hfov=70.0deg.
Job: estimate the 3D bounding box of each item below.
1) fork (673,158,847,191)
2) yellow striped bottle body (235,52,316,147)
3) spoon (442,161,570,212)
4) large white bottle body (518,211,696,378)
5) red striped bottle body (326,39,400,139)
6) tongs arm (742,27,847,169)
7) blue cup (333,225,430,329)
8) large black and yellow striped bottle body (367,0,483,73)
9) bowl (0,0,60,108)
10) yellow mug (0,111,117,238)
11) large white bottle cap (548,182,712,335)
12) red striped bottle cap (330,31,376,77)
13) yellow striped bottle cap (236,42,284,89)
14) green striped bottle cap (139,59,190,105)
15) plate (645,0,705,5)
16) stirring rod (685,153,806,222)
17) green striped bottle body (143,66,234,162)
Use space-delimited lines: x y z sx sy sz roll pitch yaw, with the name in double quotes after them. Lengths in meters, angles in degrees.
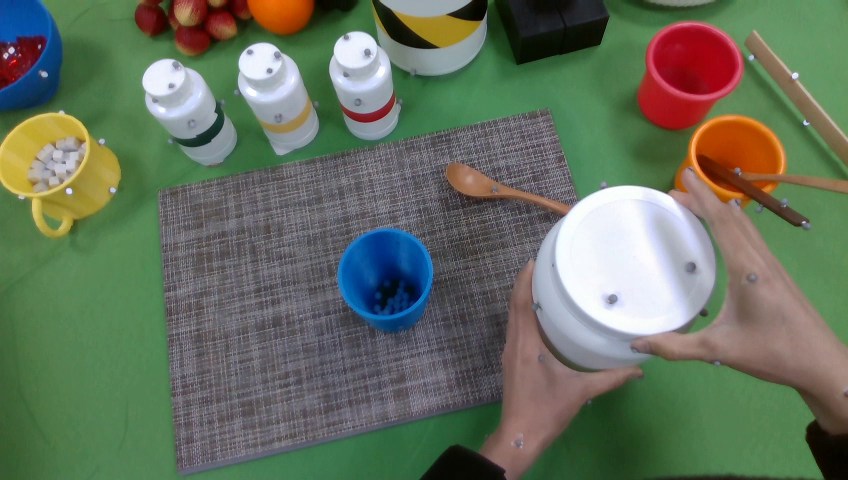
0.331 -0.059 0.573 0.028 0.019 0.205 -51 31 -13 "fork"
-0.159 -0.155 0.646 0.063 0.121 0.062 -1 70 4 "yellow striped bottle body"
0.111 -0.045 0.642 0.193 0.022 0.041 18 47 8 "spoon"
0.154 0.042 0.521 0.130 0.186 0.129 -1 69 3 "large white bottle body"
-0.065 -0.165 0.645 0.063 0.120 0.062 -2 69 7 "red striped bottle body"
0.470 -0.084 0.635 0.051 0.027 0.382 -24 72 -8 "tongs arm"
-0.035 0.044 0.575 0.092 0.101 0.092 0 70 2 "blue cup"
0.000 -0.284 0.651 0.131 0.185 0.130 -1 70 3 "large black and yellow striped bottle body"
-0.487 -0.207 0.703 0.151 0.077 0.150 -1 70 2 "bowl"
-0.399 -0.066 0.654 0.100 0.064 0.130 -3 71 0 "yellow mug"
0.149 0.012 0.442 0.115 0.018 0.114 -1 70 3 "large white bottle cap"
-0.070 -0.183 0.596 0.044 0.018 0.044 0 68 -1 "red striped bottle cap"
-0.162 -0.173 0.598 0.044 0.019 0.044 -1 71 2 "yellow striped bottle cap"
-0.255 -0.155 0.596 0.044 0.020 0.044 -1 69 2 "green striped bottle cap"
0.300 -0.370 0.745 0.209 0.038 0.207 -1 71 2 "plate"
0.300 -0.054 0.580 0.014 0.006 0.174 -11 27 -4 "stirring rod"
-0.252 -0.138 0.645 0.063 0.120 0.063 -1 70 3 "green striped bottle body"
